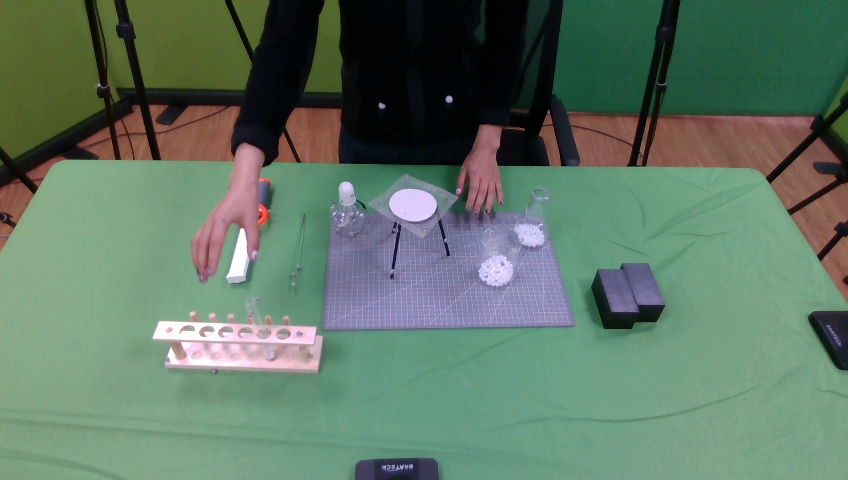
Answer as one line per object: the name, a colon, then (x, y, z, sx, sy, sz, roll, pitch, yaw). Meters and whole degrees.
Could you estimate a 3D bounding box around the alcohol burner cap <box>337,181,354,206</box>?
alcohol burner cap: (-0.151, -0.090, 1.157, 0.034, 0.048, 0.033, 0, 52, 0)

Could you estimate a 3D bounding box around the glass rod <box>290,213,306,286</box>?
glass rod: (-0.244, 0.015, 1.175, 0.008, 0.008, 0.198, 1, 44, -3)

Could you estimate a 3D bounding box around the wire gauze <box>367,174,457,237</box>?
wire gauze: (-0.021, -0.067, 1.089, 0.124, 0.011, 0.121, 28, 49, 21)

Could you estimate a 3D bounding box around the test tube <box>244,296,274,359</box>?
test tube: (-0.253, 0.138, 0.934, 0.017, 0.151, 0.017, -1, 46, 1)

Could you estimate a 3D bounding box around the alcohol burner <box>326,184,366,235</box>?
alcohol burner: (-0.152, -0.066, 1.184, 0.078, 0.119, 0.077, 4, 46, -4)

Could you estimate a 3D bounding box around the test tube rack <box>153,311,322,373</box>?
test tube rack: (-0.293, 0.160, 0.977, 0.242, 0.085, 0.066, 3, 46, -2)

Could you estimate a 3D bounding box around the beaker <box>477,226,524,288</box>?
beaker: (0.139, 0.033, 1.122, 0.084, 0.101, 0.073, -12, 48, -16)

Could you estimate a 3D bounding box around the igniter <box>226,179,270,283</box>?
igniter: (-0.345, -0.027, 1.195, 0.057, 0.025, 0.274, -6, 46, 5)

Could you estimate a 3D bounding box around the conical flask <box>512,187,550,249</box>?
conical flask: (0.217, -0.048, 1.190, 0.075, 0.122, 0.075, 2, 46, -2)

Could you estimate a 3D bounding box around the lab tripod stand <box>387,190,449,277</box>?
lab tripod stand: (-0.021, -0.018, 1.135, 0.148, 0.132, 0.147, 3, 44, -3)
